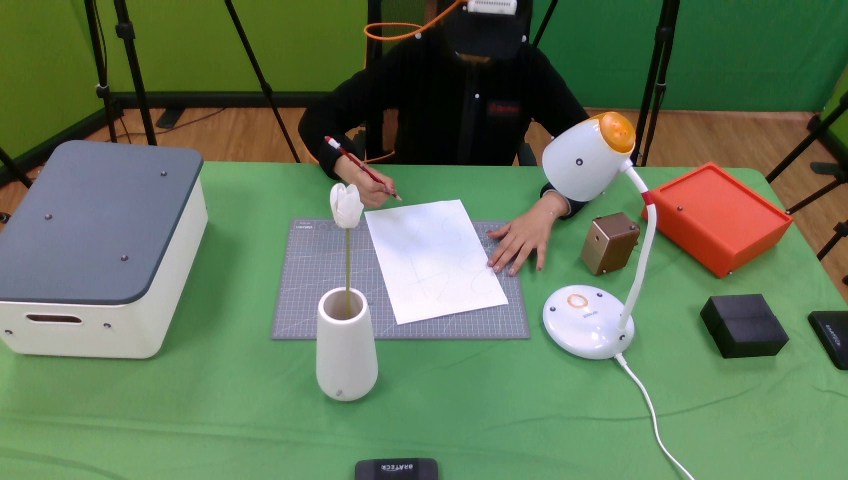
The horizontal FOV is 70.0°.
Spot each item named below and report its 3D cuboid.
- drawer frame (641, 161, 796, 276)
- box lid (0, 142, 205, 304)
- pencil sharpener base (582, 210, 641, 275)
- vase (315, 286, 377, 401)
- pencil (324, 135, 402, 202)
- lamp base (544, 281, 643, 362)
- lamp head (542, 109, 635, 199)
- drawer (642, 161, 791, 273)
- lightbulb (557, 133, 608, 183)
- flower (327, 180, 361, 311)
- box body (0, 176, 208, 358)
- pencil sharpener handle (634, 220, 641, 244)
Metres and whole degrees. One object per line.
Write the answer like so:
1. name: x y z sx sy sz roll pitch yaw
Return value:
1. drawer frame: 0.599 -0.051 1.244 0.202 0.083 0.212 -24 52 -25
2. box lid: -0.534 -0.044 0.995 0.263 0.015 0.369 3 45 -3
3. pencil sharpener base: 0.357 0.005 1.156 0.077 0.107 0.061 -15 48 -18
4. vase: -0.119 0.159 0.911 0.098 0.201 0.097 2 47 -2
5. pencil: -0.116 -0.136 1.159 0.194 0.012 0.012 40 52 -1
6. lamp base: 0.304 0.095 1.014 0.161 0.181 0.178 -24 54 -24
7. lamp head: 0.253 -0.131 0.893 0.113 0.123 0.112 10 66 -24
8. drawer: 0.596 -0.051 1.246 0.194 0.073 0.210 -23 52 -25
9. lightbulb: 0.243 -0.127 0.917 0.060 0.108 0.059 6 67 -14
10. flower: -0.110 0.086 0.867 0.044 0.363 0.038 22 33 36
11. box body: -0.546 0.017 1.045 0.254 0.161 0.361 2 46 -2
12. pencil sharpener handle: 0.405 -0.015 1.162 0.031 0.068 0.035 -15 45 -18
